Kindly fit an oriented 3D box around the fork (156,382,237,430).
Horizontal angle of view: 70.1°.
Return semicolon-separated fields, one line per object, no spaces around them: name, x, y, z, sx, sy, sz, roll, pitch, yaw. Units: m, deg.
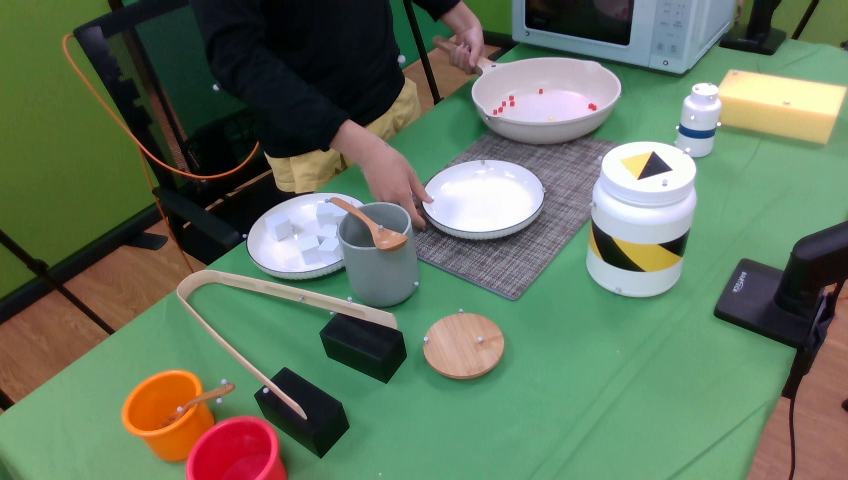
fork;-0.262;0.189;0.690;0.018;0.206;0.028;49;43;-7

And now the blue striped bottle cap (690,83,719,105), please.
blue striped bottle cap;0.481;-0.251;1.038;0.044;0.021;0.044;-5;40;5

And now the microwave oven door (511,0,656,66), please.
microwave oven door;0.351;-0.540;1.349;0.353;0.245;0.039;24;50;31

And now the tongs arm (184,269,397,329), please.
tongs arm;-0.203;0.085;0.847;0.382;0.027;0.051;11;45;35

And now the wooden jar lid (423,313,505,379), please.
wooden jar lid;0.053;0.142;0.800;0.108;0.021;0.108;-4;39;4

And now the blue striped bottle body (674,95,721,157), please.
blue striped bottle body;0.486;-0.213;1.071;0.063;0.121;0.063;-4;41;4

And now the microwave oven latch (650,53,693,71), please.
microwave oven latch;0.531;-0.386;1.301;0.078;0.029;0.030;26;51;33

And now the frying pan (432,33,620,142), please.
frying pan;0.178;-0.344;1.279;0.308;0.103;0.483;-28;52;-26

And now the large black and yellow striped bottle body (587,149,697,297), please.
large black and yellow striped bottle body;0.298;-0.026;0.835;0.131;0.185;0.130;-4;41;4

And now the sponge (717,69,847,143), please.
sponge;0.663;-0.256;1.142;0.205;0.061;0.118;19;47;28

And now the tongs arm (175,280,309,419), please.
tongs arm;-0.254;0.133;0.801;0.028;0.028;0.384;-41;41;-23

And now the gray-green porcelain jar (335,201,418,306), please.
gray-green porcelain jar;-0.064;0.024;0.872;0.106;0.127;0.105;-4;41;4

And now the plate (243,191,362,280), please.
plate;-0.187;-0.005;0.992;0.207;0.039;0.206;-4;40;3

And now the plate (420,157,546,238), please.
plate;0.099;-0.067;1.017;0.209;0.038;0.208;-4;40;4

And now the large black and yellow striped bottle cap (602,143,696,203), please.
large black and yellow striped bottle cap;0.289;-0.088;0.779;0.115;0.019;0.114;-5;39;4

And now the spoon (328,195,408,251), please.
spoon;-0.083;-0.029;0.829;0.042;0.022;0.192;-30;42;-22

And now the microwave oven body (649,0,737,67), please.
microwave oven body;0.475;-0.602;1.411;0.438;0.261;0.327;23;50;32
